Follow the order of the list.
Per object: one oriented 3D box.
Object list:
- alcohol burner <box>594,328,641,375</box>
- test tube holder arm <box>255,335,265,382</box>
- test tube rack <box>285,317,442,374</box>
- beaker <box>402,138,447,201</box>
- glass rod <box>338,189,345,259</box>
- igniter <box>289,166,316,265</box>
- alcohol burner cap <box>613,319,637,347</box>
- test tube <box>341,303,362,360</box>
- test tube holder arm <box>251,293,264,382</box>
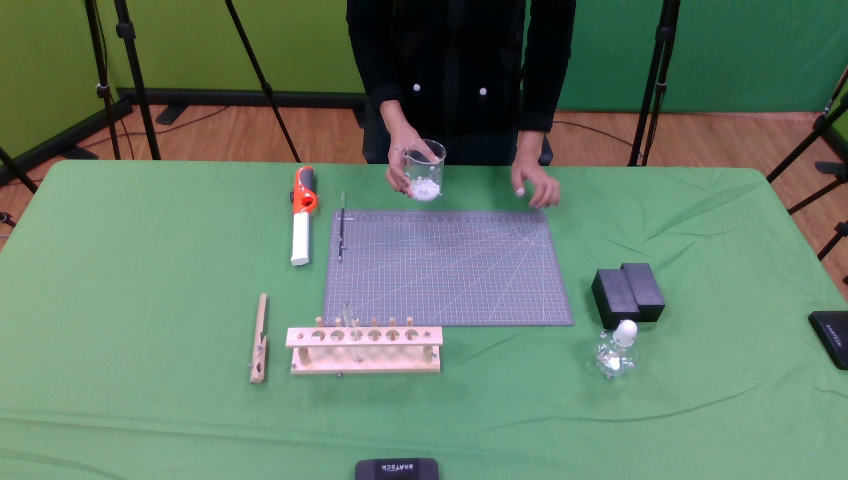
[{"bbox_3d":[0.322,0.170,0.994,0.078,0.119,0.077,3,48,-3],"label":"alcohol burner"},{"bbox_3d":[-0.270,0.193,0.997,0.010,0.015,0.087,23,36,-32],"label":"test tube holder arm"},{"bbox_3d":[-0.095,0.166,0.988,0.242,0.085,0.066,0,46,-4],"label":"test tube rack"},{"bbox_3d":[-0.003,-0.131,1.150,0.084,0.101,0.073,-6,46,-11],"label":"beaker"},{"bbox_3d":[-0.166,-0.037,1.227,0.008,0.008,0.198,-1,47,-4],"label":"glass rod"},{"bbox_3d":[-0.248,-0.058,1.233,0.057,0.025,0.274,-9,47,1],"label":"igniter"},{"bbox_3d":[0.323,0.146,0.966,0.034,0.048,0.033,-1,52,2],"label":"alcohol burner cap"},{"bbox_3d":[-0.111,0.145,0.938,0.017,0.151,0.017,-1,50,2],"label":"test tube"},{"bbox_3d":[-0.281,0.160,1.025,0.013,0.015,0.177,23,36,-32],"label":"test tube holder arm"}]
